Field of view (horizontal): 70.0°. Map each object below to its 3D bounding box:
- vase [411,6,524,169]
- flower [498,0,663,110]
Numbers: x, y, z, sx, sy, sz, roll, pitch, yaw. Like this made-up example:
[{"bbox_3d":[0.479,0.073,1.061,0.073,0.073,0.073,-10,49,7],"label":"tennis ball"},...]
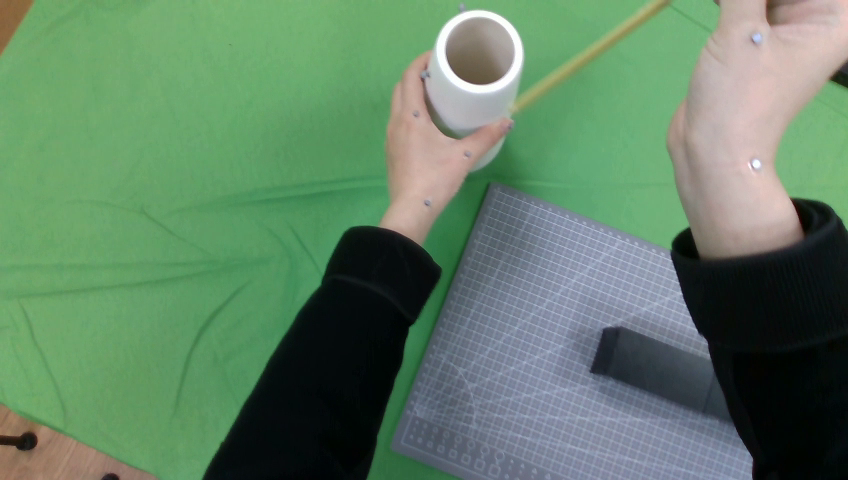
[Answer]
[{"bbox_3d":[0.041,-0.135,0.565,0.098,0.200,0.098,1,81,-4],"label":"vase"},{"bbox_3d":[0.149,-0.144,0.282,0.038,0.361,0.044,8,70,-32],"label":"flower"}]
